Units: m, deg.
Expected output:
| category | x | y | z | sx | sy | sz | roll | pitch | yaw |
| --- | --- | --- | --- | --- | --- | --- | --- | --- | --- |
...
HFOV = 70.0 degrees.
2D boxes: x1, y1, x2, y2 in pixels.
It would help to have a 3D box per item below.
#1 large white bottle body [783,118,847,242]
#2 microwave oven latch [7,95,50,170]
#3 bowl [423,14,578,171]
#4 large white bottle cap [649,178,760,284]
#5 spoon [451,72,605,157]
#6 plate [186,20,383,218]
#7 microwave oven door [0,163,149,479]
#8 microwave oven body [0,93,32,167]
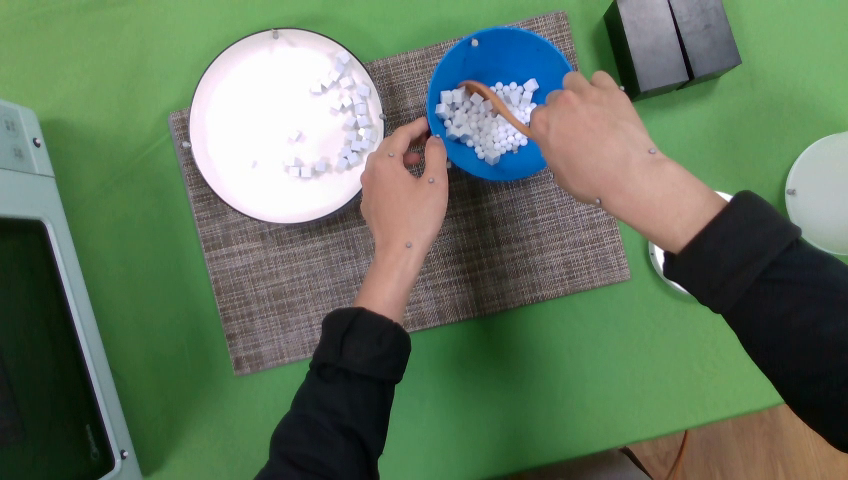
| category | x | y | z | sx | sy | sz | roll | pitch | yaw |
| --- | --- | --- | --- | --- | --- | --- | --- | --- | --- |
| large white bottle body | 0.446 | -0.062 | 0.565 | 0.130 | 0.184 | 0.130 | 0 | 91 | 2 |
| microwave oven latch | -0.428 | -0.111 | 0.643 | 0.030 | 0.029 | 0.079 | -17 | 91 | 1 |
| bowl | 0.075 | -0.142 | 0.623 | 0.151 | 0.077 | 0.151 | 0 | 92 | 2 |
| large white bottle cap | 0.302 | -0.010 | 0.654 | 0.115 | 0.018 | 0.115 | 0 | 92 | 1 |
| spoon | 0.091 | -0.116 | 0.566 | 0.021 | 0.042 | 0.191 | -45 | 51 | -3 |
| plate | -0.146 | -0.126 | 0.649 | 0.209 | 0.038 | 0.209 | 0 | 91 | 1 |
| microwave oven door | -0.371 | 0.100 | 0.546 | 0.039 | 0.244 | 0.355 | -17 | 91 | 2 |
| microwave oven body | -0.524 | 0.102 | 0.555 | 0.326 | 0.260 | 0.441 | -17 | 91 | 1 |
